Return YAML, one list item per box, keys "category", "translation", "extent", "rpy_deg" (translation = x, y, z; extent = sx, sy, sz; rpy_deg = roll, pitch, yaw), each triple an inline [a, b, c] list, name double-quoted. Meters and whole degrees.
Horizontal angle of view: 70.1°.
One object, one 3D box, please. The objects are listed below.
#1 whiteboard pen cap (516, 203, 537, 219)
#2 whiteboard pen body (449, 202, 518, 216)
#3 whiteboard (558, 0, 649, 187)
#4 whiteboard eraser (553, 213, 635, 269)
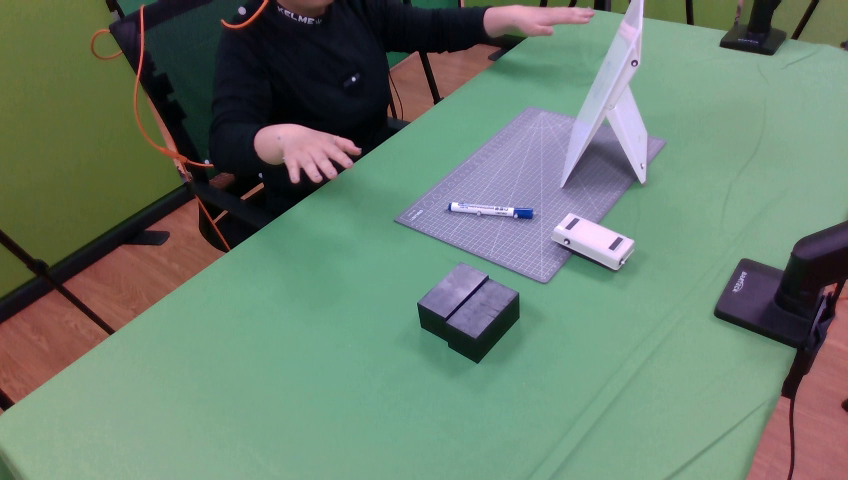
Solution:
- category: "whiteboard pen cap"
  translation: [0.171, -0.048, 1.004]
  extent: [0.033, 0.018, 0.018]
  rpy_deg: [-23, 42, -19]
- category: "whiteboard pen body"
  translation: [0.111, -0.052, 1.021]
  extent: [0.140, 0.017, 0.017]
  rpy_deg: [6, 42, 16]
- category: "whiteboard"
  translation: [0.361, -0.238, 1.026]
  extent: [0.144, 0.306, 0.217]
  rpy_deg: [21, 45, 4]
- category: "whiteboard eraser"
  translation: [0.257, 0.003, 0.918]
  extent: [0.112, 0.042, 0.056]
  rpy_deg: [27, 49, 30]
